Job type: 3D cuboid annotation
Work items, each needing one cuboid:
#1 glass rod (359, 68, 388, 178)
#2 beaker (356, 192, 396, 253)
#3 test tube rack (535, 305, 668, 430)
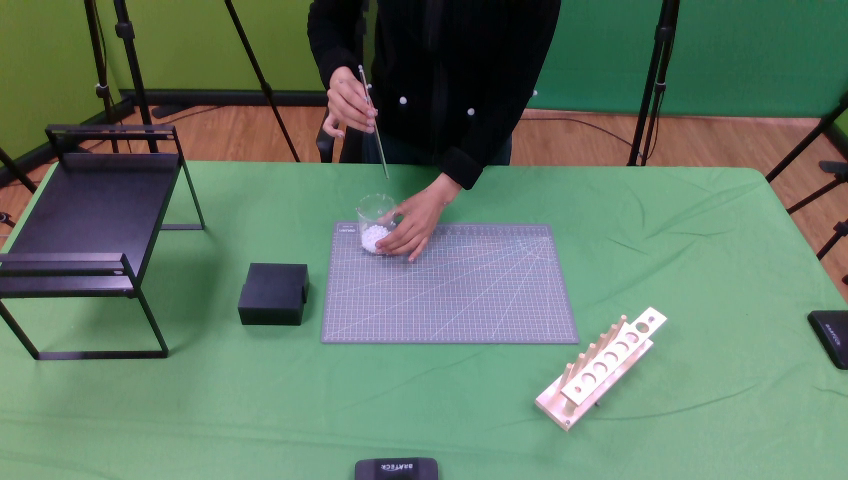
[{"bbox_3d":[-0.082,-0.190,1.011,0.008,0.201,0.008,-8,35,6],"label":"glass rod"},{"bbox_3d":[-0.089,-0.031,1.157,0.074,0.101,0.083,13,48,10],"label":"beaker"},{"bbox_3d":[0.290,0.193,0.984,0.242,0.085,0.066,-32,56,-30],"label":"test tube rack"}]
